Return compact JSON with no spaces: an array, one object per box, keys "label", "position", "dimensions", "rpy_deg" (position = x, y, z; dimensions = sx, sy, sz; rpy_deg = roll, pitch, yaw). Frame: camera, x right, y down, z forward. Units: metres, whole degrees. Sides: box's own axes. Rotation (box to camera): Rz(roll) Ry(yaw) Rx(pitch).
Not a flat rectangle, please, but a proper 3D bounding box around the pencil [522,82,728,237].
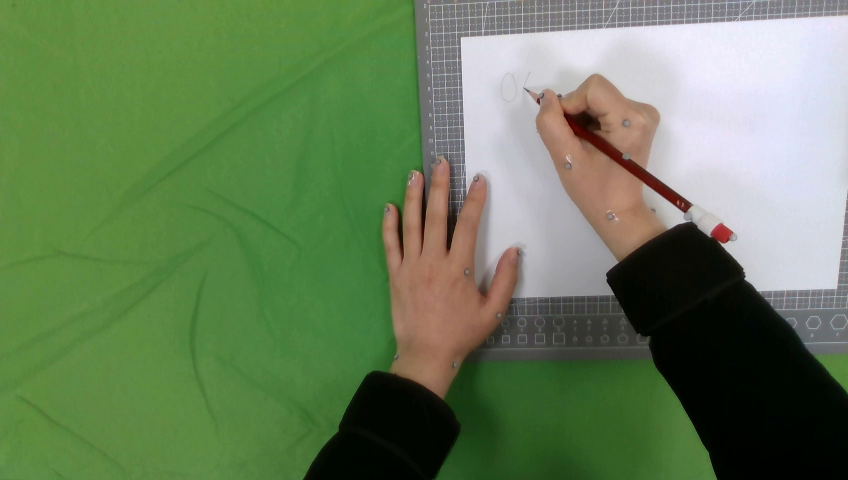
[{"label":"pencil","position":[0.126,-0.063,0.412],"dimensions":[0.012,0.012,0.192],"rpy_deg":[-50,52,13]}]
